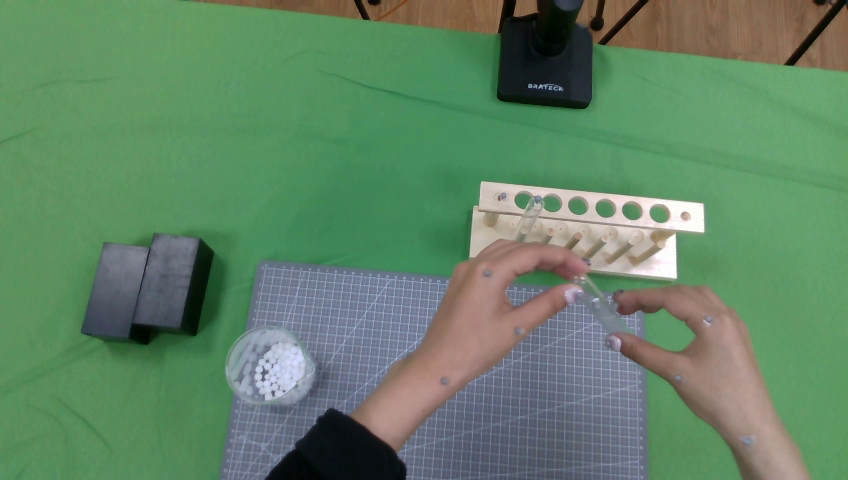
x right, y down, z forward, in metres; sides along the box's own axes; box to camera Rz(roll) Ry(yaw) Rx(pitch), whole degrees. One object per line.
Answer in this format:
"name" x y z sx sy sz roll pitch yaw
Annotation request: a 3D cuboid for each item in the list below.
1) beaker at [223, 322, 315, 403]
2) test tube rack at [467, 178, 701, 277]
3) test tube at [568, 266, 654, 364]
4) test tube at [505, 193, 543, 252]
"beaker" -0.150 0.129 0.619 0.084 0.101 0.073 6 73 -1
"test tube rack" 0.175 -0.011 0.687 0.242 0.085 0.066 6 72 -1
"test tube" 0.156 0.064 0.499 0.017 0.152 0.017 -26 42 26
"test tube" 0.104 -0.016 0.638 0.017 0.151 0.017 1 72 -1
